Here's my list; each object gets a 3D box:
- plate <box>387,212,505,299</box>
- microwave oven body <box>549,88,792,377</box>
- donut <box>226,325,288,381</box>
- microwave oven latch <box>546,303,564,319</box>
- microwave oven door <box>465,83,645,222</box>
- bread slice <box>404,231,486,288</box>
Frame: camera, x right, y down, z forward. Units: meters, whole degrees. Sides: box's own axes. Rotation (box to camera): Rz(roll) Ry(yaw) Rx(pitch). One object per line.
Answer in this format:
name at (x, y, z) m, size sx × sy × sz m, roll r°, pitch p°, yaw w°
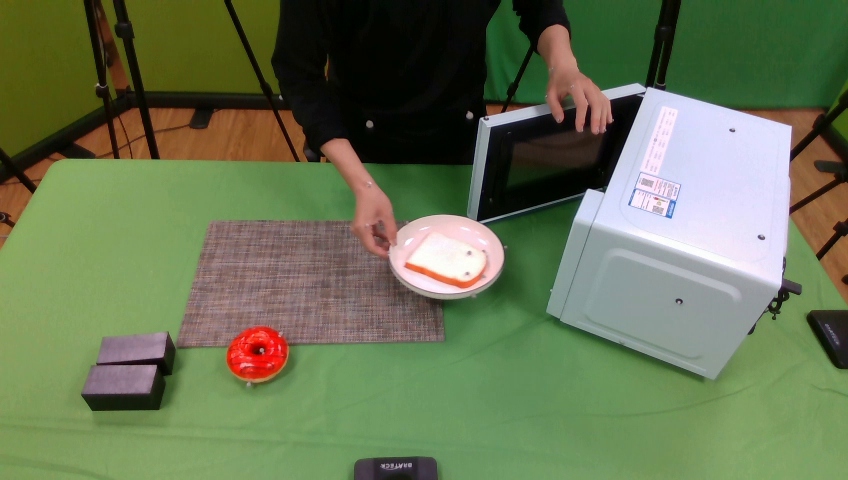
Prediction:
plate at (0.039, 0.030, 1.081) m, size 0.208 × 0.039 × 0.206 m, roll 1°, pitch 43°, yaw -1°
microwave oven body at (0.456, -0.028, 1.088) m, size 0.325 × 0.261 × 0.440 m, roll 20°, pitch 47°, yaw 16°
donut at (-0.270, 0.182, 0.984) m, size 0.099 × 0.048 × 0.098 m, roll 5°, pitch 49°, yaw -5°
microwave oven latch at (0.242, 0.102, 1.081) m, size 0.030 × 0.029 × 0.079 m, roll 21°, pitch 48°, yaw 17°
microwave oven door at (0.259, -0.171, 1.205) m, size 0.356 × 0.245 × 0.039 m, roll -16°, pitch 50°, yaw -18°
bread slice at (0.046, 0.034, 1.079) m, size 0.131 × 0.019 × 0.104 m, roll 20°, pitch 47°, yaw 21°
